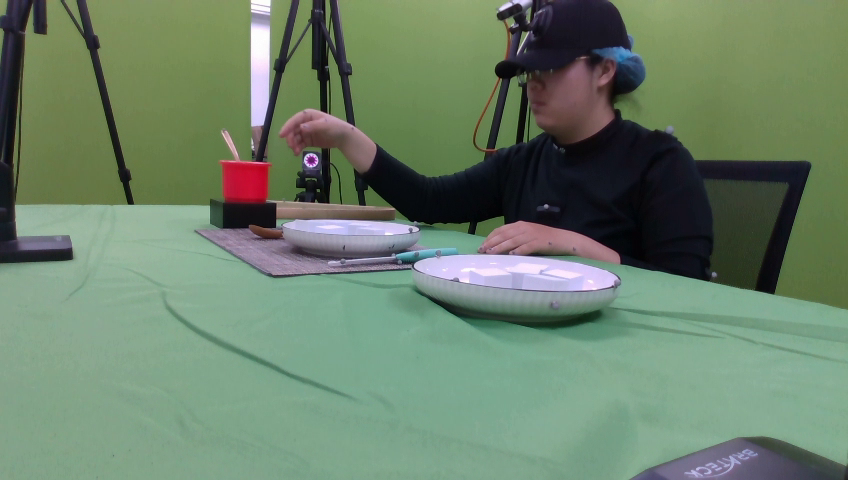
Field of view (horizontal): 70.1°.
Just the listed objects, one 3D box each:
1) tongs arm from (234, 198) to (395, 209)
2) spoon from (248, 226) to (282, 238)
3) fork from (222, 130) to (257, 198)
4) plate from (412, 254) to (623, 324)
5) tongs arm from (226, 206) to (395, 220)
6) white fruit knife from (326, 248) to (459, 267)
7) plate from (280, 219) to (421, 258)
[{"bbox_3d":[-0.263,-0.076,1.460,0.386,0.026,0.050,3,8,-8],"label":"tongs arm"},{"bbox_3d":[-0.198,-0.015,1.023,0.195,0.021,0.041,-2,-10,-30],"label":"spoon"},{"bbox_3d":[-0.368,-0.152,1.193,0.028,0.018,0.206,-9,54,-30],"label":"fork"},{"bbox_3d":[0.090,0.047,0.609,0.209,0.038,0.209,2,7,0],"label":"plate"},{"bbox_3d":[-0.247,-0.062,1.381,0.389,0.028,0.028,0,5,-21],"label":"tongs arm"},{"bbox_3d":[-0.034,0.026,0.807,0.208,0.016,0.027,-4,-19,-34],"label":"white fruit knife"},{"bbox_3d":[-0.108,-0.002,0.902,0.208,0.039,0.207,3,7,0],"label":"plate"}]
